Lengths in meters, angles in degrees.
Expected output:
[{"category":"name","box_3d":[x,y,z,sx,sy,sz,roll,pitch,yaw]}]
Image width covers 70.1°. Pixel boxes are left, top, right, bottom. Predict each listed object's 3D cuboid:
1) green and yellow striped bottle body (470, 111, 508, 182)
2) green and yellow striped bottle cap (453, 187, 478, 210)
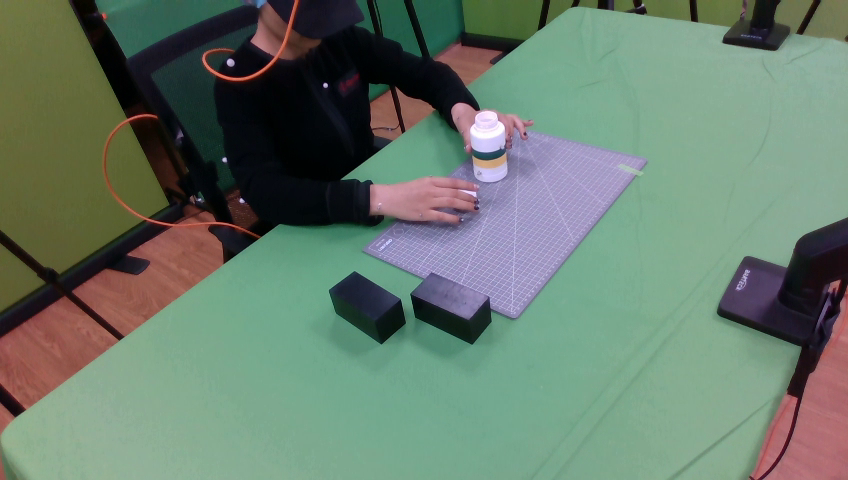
[{"category":"green and yellow striped bottle body","box_3d":[0.116,-0.168,1.079,0.063,0.120,0.063,-6,40,5]},{"category":"green and yellow striped bottle cap","box_3d":[0.072,-0.074,1.058,0.045,0.020,0.045,-7,40,6]}]
